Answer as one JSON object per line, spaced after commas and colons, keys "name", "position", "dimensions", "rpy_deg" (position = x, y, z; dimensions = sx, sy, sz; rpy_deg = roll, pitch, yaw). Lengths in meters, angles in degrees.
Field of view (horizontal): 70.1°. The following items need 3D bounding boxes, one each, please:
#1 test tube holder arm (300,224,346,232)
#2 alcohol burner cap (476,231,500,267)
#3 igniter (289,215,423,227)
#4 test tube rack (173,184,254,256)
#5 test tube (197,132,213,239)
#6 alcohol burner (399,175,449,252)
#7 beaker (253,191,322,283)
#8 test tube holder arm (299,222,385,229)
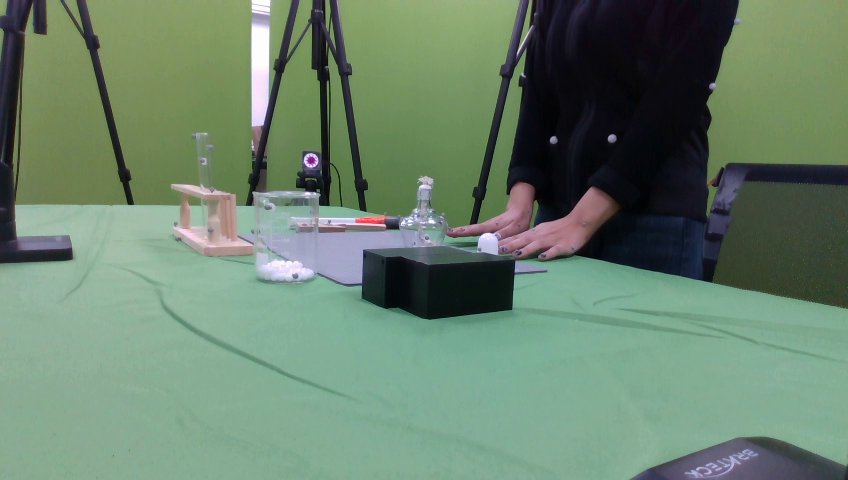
{"name": "test tube holder arm", "position": [-0.189, -0.022, 1.137], "dimensions": [0.088, 0.015, 0.010], "rpy_deg": [-2, 43, -35]}
{"name": "alcohol burner cap", "position": [0.088, 0.012, 0.830], "dimensions": [0.034, 0.048, 0.034], "rpy_deg": [2, 6, 0]}
{"name": "igniter", "position": [-0.133, -0.038, 1.232], "dimensions": [0.278, 0.025, 0.057], "rpy_deg": [-1, -2, -25]}
{"name": "test tube rack", "position": [-0.328, -0.036, 0.927], "dimensions": [0.067, 0.085, 0.241], "rpy_deg": [-2, 9, -32]}
{"name": "test tube", "position": [-0.305, -0.075, 0.849], "dimensions": [0.017, 0.150, 0.017], "rpy_deg": [-1, 10, 0]}
{"name": "alcohol burner", "position": [0.000, -0.041, 0.937], "dimensions": [0.078, 0.119, 0.078], "rpy_deg": [0, 7, 0]}
{"name": "beaker", "position": [-0.158, -0.005, 0.685], "dimensions": [0.083, 0.100, 0.074], "rpy_deg": [5, 7, 23]}
{"name": "test tube holder arm", "position": [-0.154, -0.027, 1.166], "dimensions": [0.179, 0.015, 0.013], "rpy_deg": [-2, 43, -35]}
